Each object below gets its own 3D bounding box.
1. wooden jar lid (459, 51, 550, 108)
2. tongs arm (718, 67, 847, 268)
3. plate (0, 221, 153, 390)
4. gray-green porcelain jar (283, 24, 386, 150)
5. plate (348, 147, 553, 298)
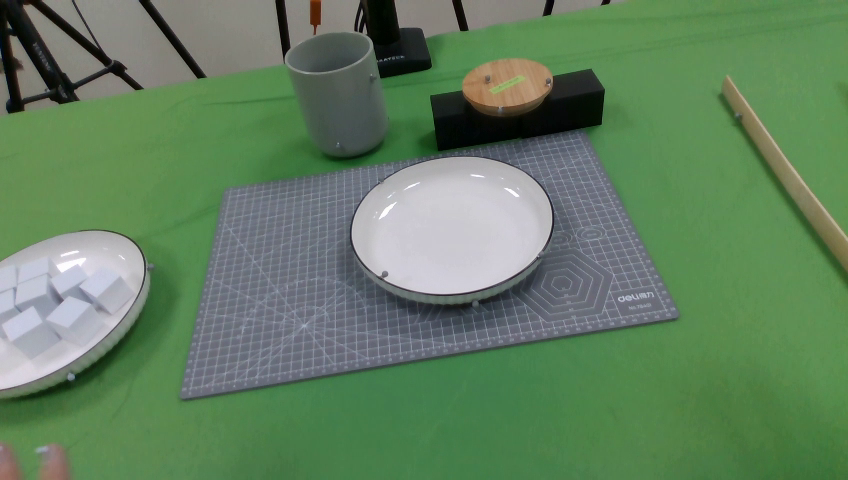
[{"bbox_3d":[0.097,-0.192,0.727,0.108,0.021,0.107,-4,46,5],"label":"wooden jar lid"},{"bbox_3d":[0.384,-0.073,0.624,0.028,0.028,0.383,-6,45,1],"label":"tongs arm"},{"bbox_3d":[-0.376,0.064,0.615,0.207,0.039,0.205,-5,45,5],"label":"plate"},{"bbox_3d":[-0.105,-0.185,0.751,0.106,0.128,0.105,-5,45,6],"label":"gray-green porcelain jar"},{"bbox_3d":[0.027,-0.019,0.623,0.209,0.038,0.207,-5,45,6],"label":"plate"}]
